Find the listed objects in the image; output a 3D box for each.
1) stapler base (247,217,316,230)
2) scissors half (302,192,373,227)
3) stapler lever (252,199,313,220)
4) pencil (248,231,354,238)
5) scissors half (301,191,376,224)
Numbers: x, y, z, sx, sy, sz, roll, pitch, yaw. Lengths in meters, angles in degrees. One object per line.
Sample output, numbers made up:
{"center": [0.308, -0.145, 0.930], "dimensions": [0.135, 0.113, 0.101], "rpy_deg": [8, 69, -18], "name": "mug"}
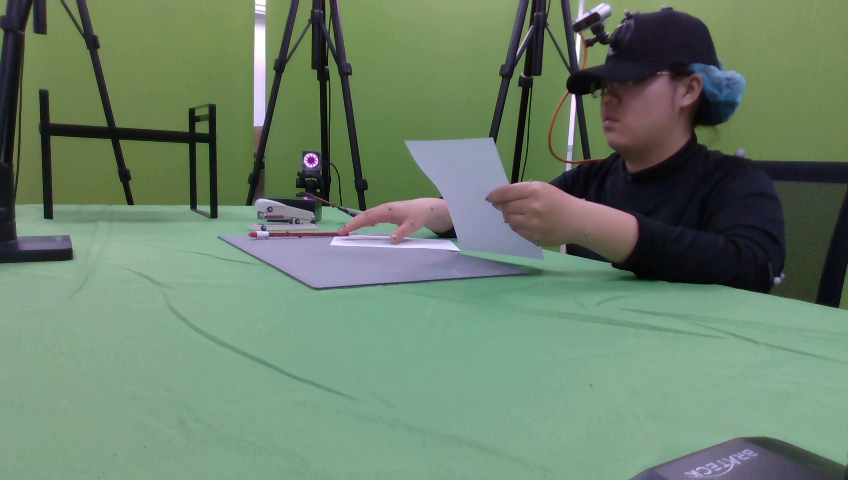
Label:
{"center": [-0.276, -0.033, 1.172], "dimensions": [0.131, 0.024, 0.041], "rpy_deg": [0, 10, -37], "name": "stapler base"}
{"center": [-0.191, -0.069, 1.314], "dimensions": [0.175, 0.013, 0.040], "rpy_deg": [26, 16, 7], "name": "scissors half"}
{"center": [-0.273, -0.058, 1.170], "dimensions": [0.119, 0.040, 0.026], "rpy_deg": [0, 10, -37], "name": "stapler lever"}
{"center": [-0.206, -0.008, 1.039], "dimensions": [0.195, 0.012, 0.012], "rpy_deg": [0, 8, -36], "name": "pencil"}
{"center": [-0.189, -0.073, 1.333], "dimensions": [0.175, 0.013, 0.040], "rpy_deg": [22, 11, -10], "name": "scissors half"}
